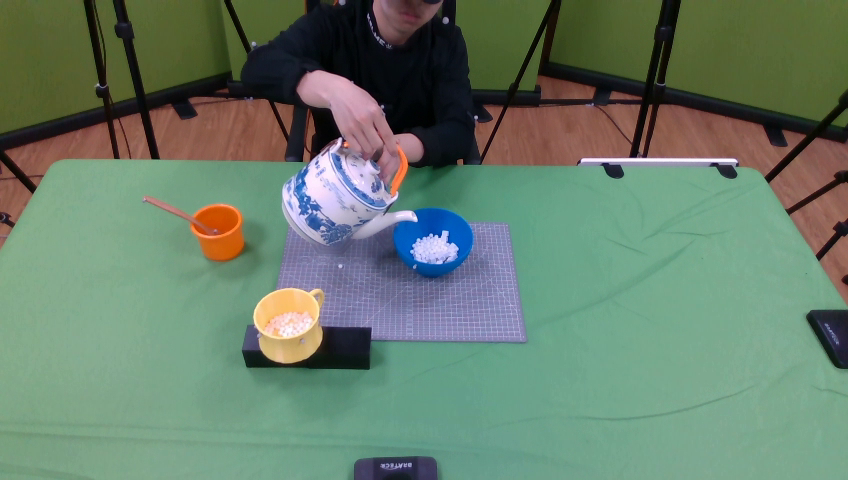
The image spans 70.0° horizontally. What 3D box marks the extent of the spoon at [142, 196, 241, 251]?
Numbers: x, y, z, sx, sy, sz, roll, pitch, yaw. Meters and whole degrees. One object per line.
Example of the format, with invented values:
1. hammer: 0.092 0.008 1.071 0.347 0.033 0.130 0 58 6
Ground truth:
1. spoon: -0.421 -0.032 1.108 0.021 0.195 0.041 -32 40 28

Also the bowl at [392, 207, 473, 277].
1. bowl: 0.014 0.016 1.140 0.151 0.077 0.150 2 47 -2

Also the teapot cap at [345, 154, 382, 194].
1. teapot cap: -0.099 -0.116 1.029 0.044 0.085 0.084 -36 43 21

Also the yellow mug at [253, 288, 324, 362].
1. yellow mug: -0.205 0.124 0.963 0.099 0.064 0.130 27 49 21

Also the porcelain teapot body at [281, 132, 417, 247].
1. porcelain teapot body: -0.111 -0.079 1.058 0.225 0.206 0.144 -35 29 24
